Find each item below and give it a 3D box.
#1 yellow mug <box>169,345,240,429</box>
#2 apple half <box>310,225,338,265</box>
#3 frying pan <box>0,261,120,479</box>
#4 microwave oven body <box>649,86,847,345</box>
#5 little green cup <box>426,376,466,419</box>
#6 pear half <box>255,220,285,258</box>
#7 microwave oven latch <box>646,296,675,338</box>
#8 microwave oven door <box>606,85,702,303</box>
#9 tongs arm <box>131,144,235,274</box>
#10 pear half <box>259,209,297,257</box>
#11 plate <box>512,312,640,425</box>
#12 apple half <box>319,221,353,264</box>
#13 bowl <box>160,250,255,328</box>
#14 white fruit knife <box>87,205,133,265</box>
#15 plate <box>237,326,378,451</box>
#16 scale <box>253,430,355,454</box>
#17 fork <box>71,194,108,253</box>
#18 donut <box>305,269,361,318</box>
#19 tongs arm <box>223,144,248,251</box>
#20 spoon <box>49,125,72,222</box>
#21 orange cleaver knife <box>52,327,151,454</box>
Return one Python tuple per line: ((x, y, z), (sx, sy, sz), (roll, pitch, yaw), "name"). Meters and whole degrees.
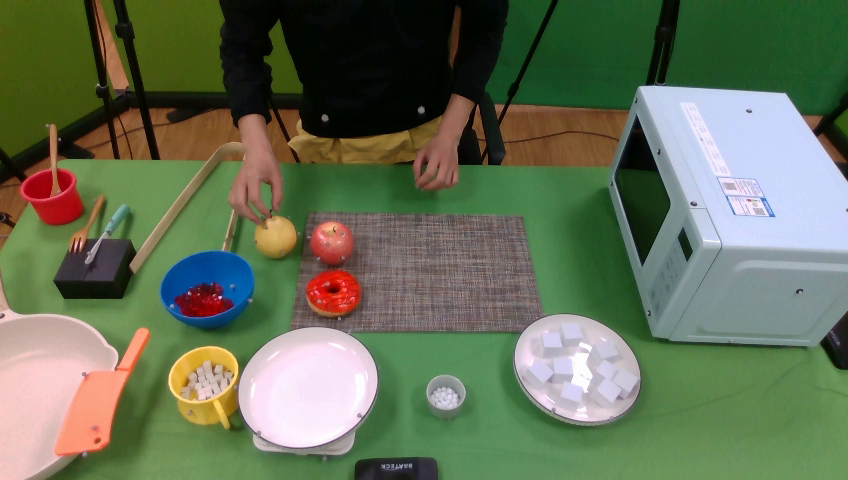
((-0.323, 0.230, 0.922), (0.100, 0.064, 0.130), (-24, 53, -25), "yellow mug")
((-0.192, 0.017, 1.125), (0.033, 0.081, 0.081), (-25, 53, -30), "apple half")
((-0.647, 0.164, 0.936), (0.307, 0.103, 0.485), (-19, 58, -22), "frying pan")
((0.567, -0.053, 1.118), (0.326, 0.261, 0.439), (2, 45, -1), "microwave oven body")
((0.033, 0.248, 0.950), (0.061, 0.039, 0.061), (2, 46, -2), "little green cup")
((-0.293, 0.003, 1.127), (0.070, 0.088, 0.031), (26, 50, 16), "pear half")
((0.412, 0.134, 1.061), (0.030, 0.029, 0.078), (4, 45, 1), "microwave oven latch")
((0.422, -0.094, 1.140), (0.039, 0.245, 0.353), (2, 46, -1), "microwave oven door")
((-0.484, -0.077, 1.235), (0.028, 0.028, 0.385), (6, 45, 13), "tongs arm")
((-0.272, -0.024, 1.141), (0.076, 0.110, 0.056), (27, 50, 16), "pear half")
((0.246, 0.213, 0.999), (0.208, 0.039, 0.206), (2, 46, -2), "plate")
((-0.162, 0.001, 1.144), (0.053, 0.075, 0.080), (-26, 50, -29), "apple half")
((-0.362, 0.098, 1.040), (0.151, 0.077, 0.150), (2, 45, -2), "bowl")
((-0.584, -0.013, 1.129), (0.016, 0.027, 0.206), (-1, 32, -4), "white fruit knife")
((-0.174, 0.224, 0.917), (0.209, 0.038, 0.208), (2, 46, -2), "plate")
((-0.175, 0.236, 0.951), (0.149, 0.032, 0.199), (4, 45, 0), "scale")
((-0.634, -0.036, 1.158), (0.028, 0.019, 0.206), (-8, 31, -8), "fork")
((-0.160, 0.094, 1.075), (0.099, 0.048, 0.098), (3, 46, -3), "donut")
((-0.398, -0.073, 1.232), (0.051, 0.027, 0.382), (-2, 45, 0), "tongs arm")
((-0.718, -0.131, 1.189), (0.041, 0.021, 0.193), (-4, 90, -6), "spoon")
((-0.462, 0.212, 0.879), (0.077, 0.012, 0.210), (7, 45, -2), "orange cleaver knife")
